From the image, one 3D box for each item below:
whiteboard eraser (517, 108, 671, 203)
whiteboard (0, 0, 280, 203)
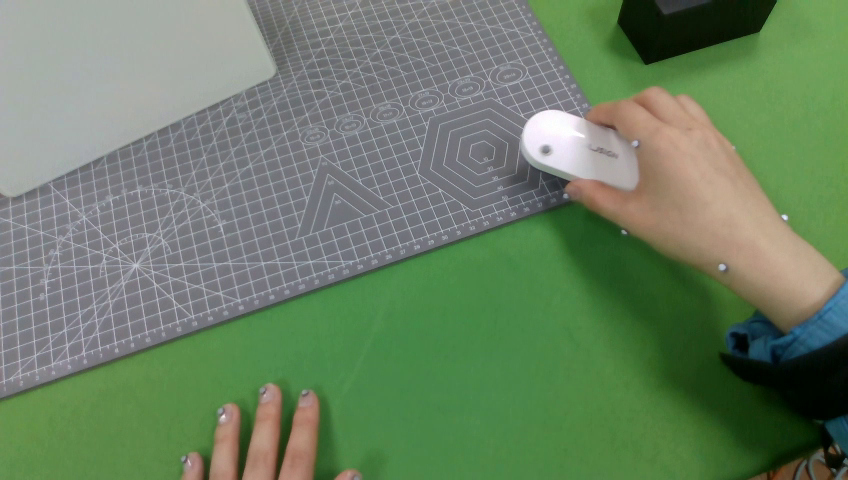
[{"bbox_3d":[0.111,-0.056,0.399,0.101,0.019,0.041,21,76,6],"label":"whiteboard eraser"},{"bbox_3d":[-0.267,-0.219,0.392,0.217,0.309,0.142,-28,46,-10],"label":"whiteboard"}]
